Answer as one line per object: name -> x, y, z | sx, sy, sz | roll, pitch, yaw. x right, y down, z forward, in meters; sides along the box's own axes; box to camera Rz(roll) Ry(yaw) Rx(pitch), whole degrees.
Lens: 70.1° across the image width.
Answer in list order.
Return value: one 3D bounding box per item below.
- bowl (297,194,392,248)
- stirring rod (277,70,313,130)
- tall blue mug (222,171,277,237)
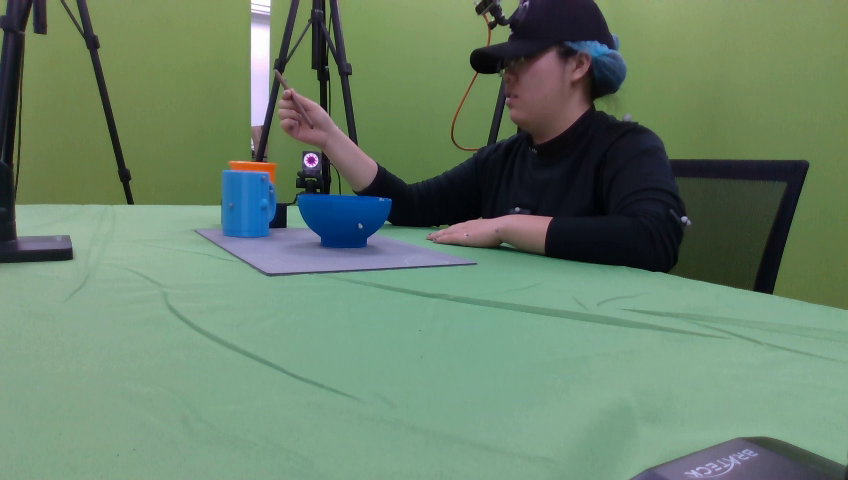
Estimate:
bowl -> -0.127, -0.030, 0.964 | 0.151, 0.077, 0.151 | 2, 7, 0
stirring rod -> -0.248, -0.271, 1.157 | 0.006, 0.014, 0.175 | -17, 57, -27
tall blue mug -> -0.302, -0.064, 1.043 | 0.078, 0.108, 0.107 | 1, 7, -4
